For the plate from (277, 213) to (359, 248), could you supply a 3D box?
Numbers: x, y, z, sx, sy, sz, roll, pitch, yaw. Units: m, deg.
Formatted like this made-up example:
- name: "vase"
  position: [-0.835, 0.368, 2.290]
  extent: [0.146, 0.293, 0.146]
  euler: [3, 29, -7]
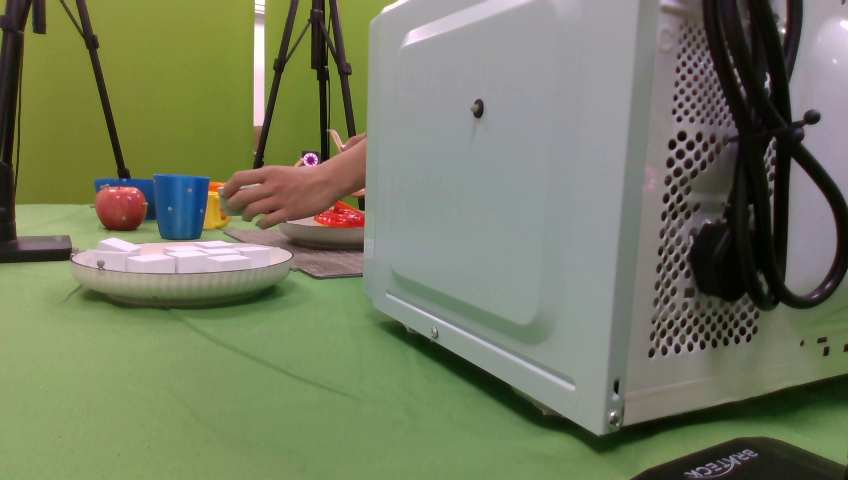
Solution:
- name: "plate"
  position: [-0.135, -0.017, 0.993]
  extent: [0.209, 0.038, 0.209]
  euler: [2, 8, 0]

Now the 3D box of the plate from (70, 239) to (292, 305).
- name: "plate"
  position: [-0.242, 0.031, 0.618]
  extent: [0.208, 0.039, 0.207]
  euler: [2, 8, 0]

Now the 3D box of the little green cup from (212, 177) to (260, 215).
- name: "little green cup"
  position: [-0.261, -0.062, 0.850]
  extent: [0.061, 0.038, 0.061]
  euler: [-17, 12, 4]

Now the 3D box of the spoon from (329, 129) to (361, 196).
- name: "spoon"
  position: [-0.150, -0.151, 1.153]
  extent: [0.042, 0.021, 0.193]
  euler: [-9, 55, -20]

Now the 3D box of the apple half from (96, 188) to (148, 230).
- name: "apple half"
  position: [-0.517, -0.052, 1.036]
  extent: [0.081, 0.074, 0.053]
  euler: [2, 10, -26]

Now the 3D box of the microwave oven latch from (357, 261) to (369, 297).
- name: "microwave oven latch"
  position: [-0.019, 0.033, 0.530]
  extent: [0.079, 0.029, 0.030]
  euler: [-1, 7, -27]

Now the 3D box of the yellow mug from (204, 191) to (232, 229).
- name: "yellow mug"
  position: [-0.415, -0.057, 1.131]
  extent: [0.130, 0.064, 0.100]
  euler: [6, 8, 16]

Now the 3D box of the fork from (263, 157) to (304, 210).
- name: "fork"
  position: [-0.345, -0.143, 1.505]
  extent: [0.028, 0.019, 0.207]
  euler: [-4, 46, 28]

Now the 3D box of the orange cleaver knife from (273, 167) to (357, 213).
- name: "orange cleaver knife"
  position: [-0.238, -0.090, 1.381]
  extent: [0.212, 0.077, 0.012]
  euler: [31, 0, -19]

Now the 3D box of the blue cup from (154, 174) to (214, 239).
- name: "blue cup"
  position: [-0.391, -0.054, 0.978]
  extent: [0.093, 0.100, 0.092]
  euler: [4, 6, 0]

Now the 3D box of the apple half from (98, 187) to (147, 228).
- name: "apple half"
  position: [-0.534, -0.059, 1.071]
  extent: [0.082, 0.081, 0.032]
  euler: [-1, 10, -25]

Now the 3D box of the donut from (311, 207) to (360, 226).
- name: "donut"
  position: [-0.137, -0.029, 0.995]
  extent: [0.099, 0.048, 0.099]
  euler: [3, 8, 0]

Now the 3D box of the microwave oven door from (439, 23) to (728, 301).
- name: "microwave oven door"
  position: [0.181, -0.072, 0.620]
  extent: [0.358, 0.243, 0.039]
  euler: [-2, 8, -29]

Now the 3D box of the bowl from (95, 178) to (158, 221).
- name: "bowl"
  position: [-0.576, -0.081, 1.217]
  extent: [0.151, 0.077, 0.151]
  euler: [3, 8, 0]

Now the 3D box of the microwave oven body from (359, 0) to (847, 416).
- name: "microwave oven body"
  position: [0.211, -0.047, 0.474]
  extent: [0.444, 0.260, 0.324]
  euler: [-1, 7, -28]
